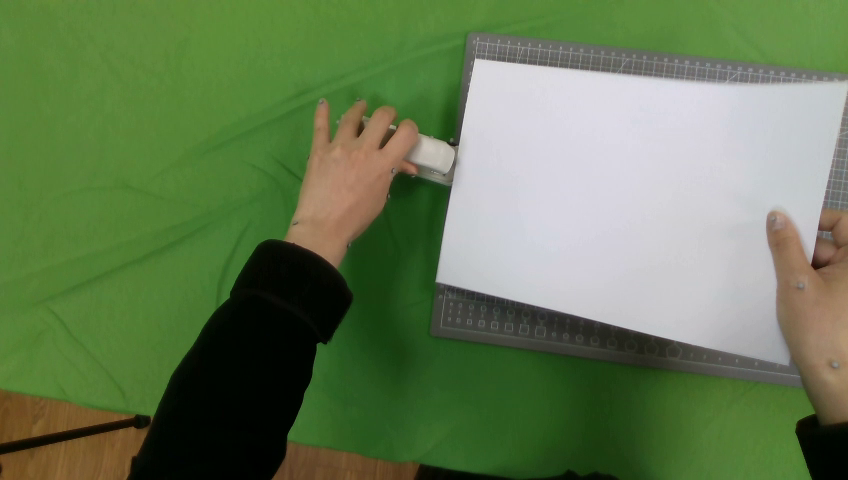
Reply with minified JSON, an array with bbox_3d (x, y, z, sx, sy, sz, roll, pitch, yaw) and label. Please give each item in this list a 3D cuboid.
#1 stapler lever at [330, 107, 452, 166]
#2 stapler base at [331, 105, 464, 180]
[{"bbox_3d":[-0.032,-0.096,0.556,0.118,0.040,0.027,18,88,8],"label":"stapler lever"},{"bbox_3d":[-0.027,-0.095,0.581,0.130,0.024,0.041,18,89,7],"label":"stapler base"}]
